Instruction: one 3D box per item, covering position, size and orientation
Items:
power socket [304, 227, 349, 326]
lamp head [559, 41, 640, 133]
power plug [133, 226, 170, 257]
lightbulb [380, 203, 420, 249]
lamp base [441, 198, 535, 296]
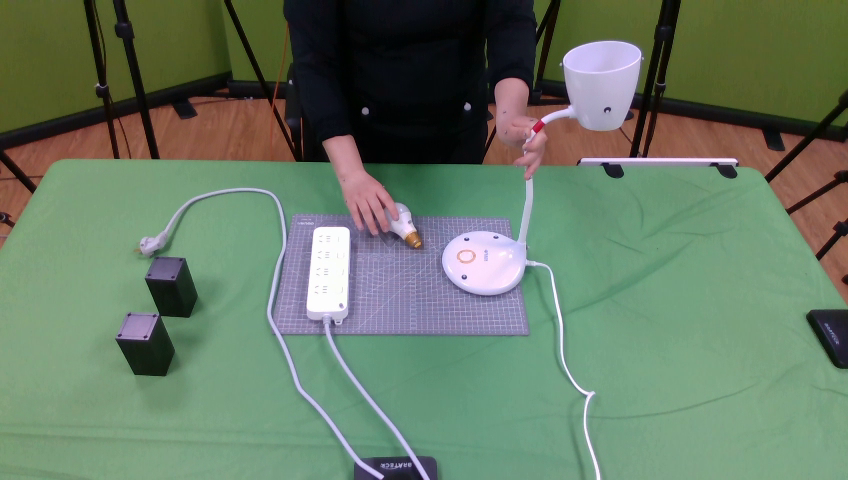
[{"bbox_3d":[-0.177,0.059,1.115,0.072,0.033,0.225,-1,46,-4],"label":"power socket"},{"bbox_3d":[0.265,-0.226,0.926,0.112,0.123,0.112,-4,38,3],"label":"lamp head"},{"bbox_3d":[-0.516,0.005,1.152,0.052,0.035,0.072,-5,24,6],"label":"power plug"},{"bbox_3d":[-0.044,-0.026,1.198,0.059,0.060,0.107,-29,69,-28],"label":"lightbulb"},{"bbox_3d":[0.129,-0.012,1.105,0.179,0.181,0.159,-1,46,-9],"label":"lamp base"}]
